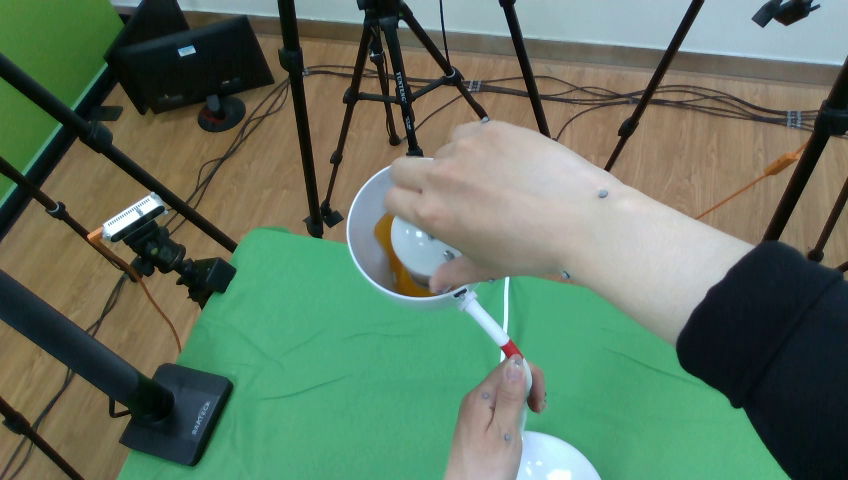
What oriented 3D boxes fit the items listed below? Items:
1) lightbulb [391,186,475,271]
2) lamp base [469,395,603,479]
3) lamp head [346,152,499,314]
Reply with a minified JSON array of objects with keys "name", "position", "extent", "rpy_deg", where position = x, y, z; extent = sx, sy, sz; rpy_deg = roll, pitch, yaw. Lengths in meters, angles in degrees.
[{"name":"lightbulb","position":[0.004,-0.002,0.453],"extent":[0.059,0.108,0.059],"rpy_deg":[2,75,-5]},{"name":"lamp base","position":[0.116,0.248,0.647],"extent":[0.161,0.182,0.177],"rpy_deg":[-24,55,-8]},{"name":"lamp head","position":[0.005,0.008,0.484],"extent":[0.112,0.124,0.111],"rpy_deg":[-3,66,6]}]
